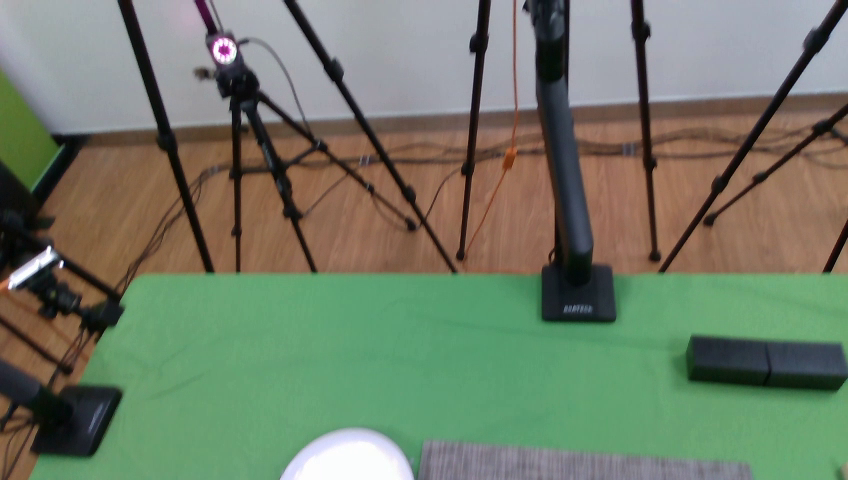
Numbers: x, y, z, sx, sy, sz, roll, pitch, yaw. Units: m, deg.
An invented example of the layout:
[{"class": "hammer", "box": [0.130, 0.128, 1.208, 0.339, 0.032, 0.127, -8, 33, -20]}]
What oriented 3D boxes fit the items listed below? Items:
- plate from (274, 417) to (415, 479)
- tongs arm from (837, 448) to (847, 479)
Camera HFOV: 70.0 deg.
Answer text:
[{"class": "plate", "box": [-0.112, 0.355, 0.854, 0.207, 0.039, 0.205, -5, 50, 7]}, {"class": "tongs arm", "box": [0.545, 0.424, 0.673, 0.028, 0.028, 0.383, -4, 50, 7]}]
